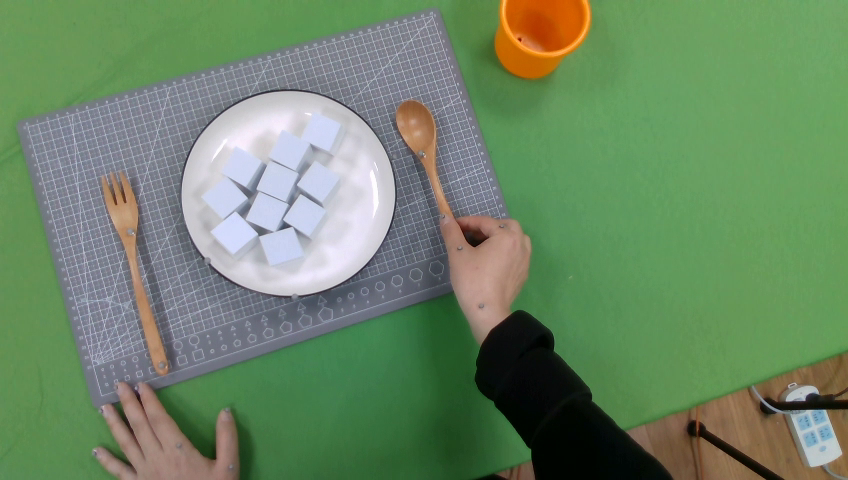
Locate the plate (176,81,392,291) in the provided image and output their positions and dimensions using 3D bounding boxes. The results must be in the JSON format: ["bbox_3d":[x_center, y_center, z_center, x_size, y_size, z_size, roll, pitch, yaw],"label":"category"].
[{"bbox_3d":[-0.136,-0.052,0.607,0.208,0.039,0.207,1,84,-5],"label":"plate"}]

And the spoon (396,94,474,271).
[{"bbox_3d":[0.013,-0.058,0.623,0.041,0.022,0.193,-20,84,26],"label":"spoon"}]

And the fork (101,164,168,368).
[{"bbox_3d":[-0.282,0.025,0.595,0.028,0.018,0.206,-15,84,-12],"label":"fork"}]
